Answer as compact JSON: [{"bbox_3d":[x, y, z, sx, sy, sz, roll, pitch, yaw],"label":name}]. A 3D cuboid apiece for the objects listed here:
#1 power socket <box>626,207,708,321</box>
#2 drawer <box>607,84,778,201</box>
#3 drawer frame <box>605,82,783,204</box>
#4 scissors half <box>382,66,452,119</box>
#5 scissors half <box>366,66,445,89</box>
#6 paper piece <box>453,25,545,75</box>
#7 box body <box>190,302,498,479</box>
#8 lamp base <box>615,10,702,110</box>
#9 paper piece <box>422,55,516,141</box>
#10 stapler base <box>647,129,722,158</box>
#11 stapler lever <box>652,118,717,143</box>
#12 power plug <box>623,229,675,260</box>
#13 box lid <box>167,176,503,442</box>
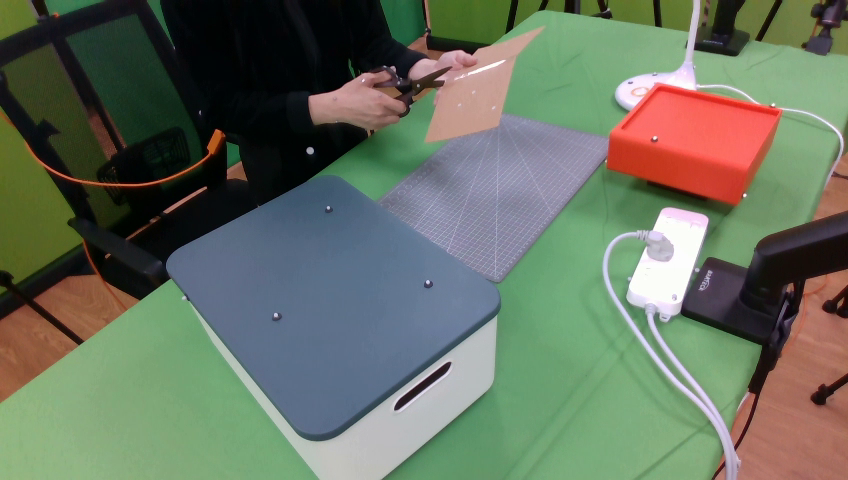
[{"bbox_3d":[0.360,0.026,0.886,0.072,0.033,0.227,16,46,26],"label":"power socket"},{"bbox_3d":[0.438,-0.167,0.995,0.210,0.073,0.195,23,48,30],"label":"drawer"},{"bbox_3d":[0.441,-0.167,0.995,0.212,0.083,0.202,23,48,29],"label":"drawer frame"},{"bbox_3d":[-0.012,-0.250,1.024,0.174,0.040,0.013,-28,20,46],"label":"scissors half"},{"bbox_3d":[-0.022,-0.269,1.013,0.174,0.040,0.013,11,48,23],"label":"scissors half"},{"bbox_3d":[0.117,-0.307,0.988,0.137,0.009,0.136,-11,24,41],"label":"paper piece"},{"bbox_3d":[-0.110,0.103,0.761,0.255,0.161,0.361,-33,46,-27],"label":"box body"},{"bbox_3d":[0.484,-0.364,1.211,0.180,0.181,0.159,-15,41,-14],"label":"lamp base"},{"bbox_3d":[0.068,-0.213,0.913,0.135,0.004,0.135,-5,56,39],"label":"paper piece"},{"bbox_3d":[0.439,-0.167,1.023,0.131,0.024,0.041,-16,25,-15],"label":"stapler base"},{"bbox_3d":[0.436,-0.192,1.014,0.118,0.040,0.026,-15,25,-16],"label":"stapler lever"},{"bbox_3d":[0.327,0.007,0.878,0.072,0.053,0.035,25,51,33],"label":"power plug"},{"bbox_3d":[-0.119,0.047,0.714,0.264,0.015,0.368,-32,47,-27],"label":"box lid"}]
